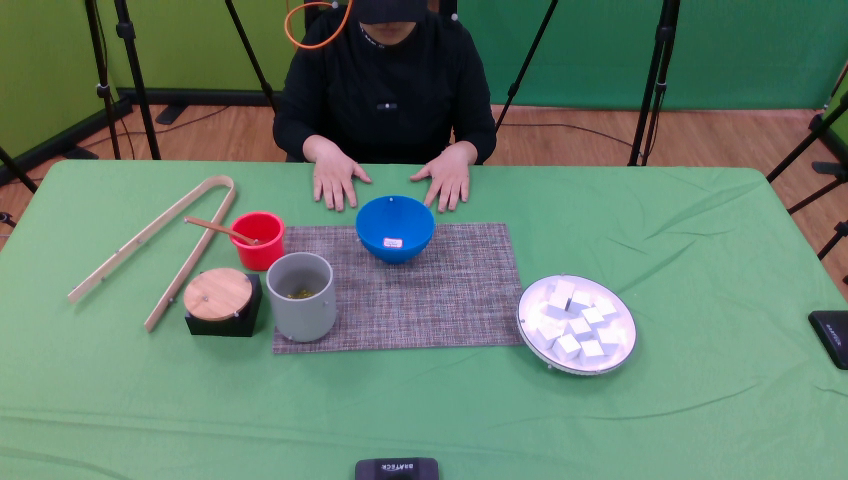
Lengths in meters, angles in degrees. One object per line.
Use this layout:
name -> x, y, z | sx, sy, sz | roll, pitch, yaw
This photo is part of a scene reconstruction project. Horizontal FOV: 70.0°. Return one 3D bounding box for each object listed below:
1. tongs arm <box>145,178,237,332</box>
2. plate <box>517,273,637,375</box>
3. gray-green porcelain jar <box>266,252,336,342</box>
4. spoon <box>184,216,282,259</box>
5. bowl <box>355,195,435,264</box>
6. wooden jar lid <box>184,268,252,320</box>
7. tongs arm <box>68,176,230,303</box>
tongs arm -> -0.432, 0.014, 1.149 | 0.028, 0.028, 0.385 | 8, 46, 7
plate -> 0.264, 0.149, 1.060 | 0.209, 0.038, 0.208 | 3, 46, -3
gray-green porcelain jar -> -0.202, 0.100, 1.009 | 0.106, 0.127, 0.105 | 2, 46, -2
spoon -> -0.341, -0.008, 1.096 | 0.021, 0.195, 0.041 | -36, 47, 25
bowl -> -0.056, -0.008, 1.158 | 0.151, 0.077, 0.150 | 2, 46, -2
wooden jar lid -> -0.343, 0.092, 1.015 | 0.108, 0.021, 0.107 | 3, 46, -3
tongs arm -> -0.510, -0.011, 1.162 | 0.050, 0.026, 0.383 | 20, 47, 14
